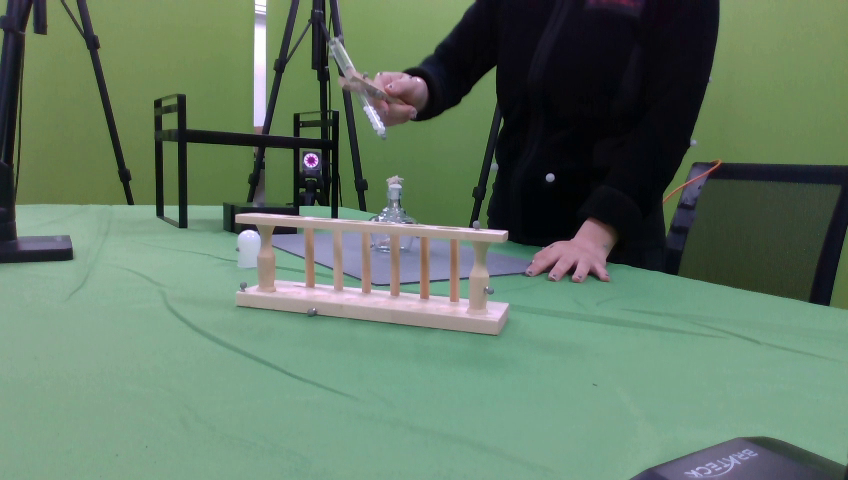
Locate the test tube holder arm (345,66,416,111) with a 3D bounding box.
[{"bbox_3d":[-0.053,-0.200,0.811,0.013,0.015,0.179,-33,-15,21],"label":"test tube holder arm"}]

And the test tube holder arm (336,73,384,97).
[{"bbox_3d":[-0.079,-0.197,0.774,0.010,0.015,0.088,-36,-17,29],"label":"test tube holder arm"}]

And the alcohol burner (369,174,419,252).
[{"bbox_3d":[-0.046,-0.041,0.922,0.078,0.119,0.078,2,10,0],"label":"alcohol burner"}]

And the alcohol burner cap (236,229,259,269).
[{"bbox_3d":[-0.220,0.010,0.759,0.034,0.048,0.034,0,12,0],"label":"alcohol burner cap"}]

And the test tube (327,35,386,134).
[{"bbox_3d":[-0.084,-0.193,0.750,0.017,0.150,0.017,-26,-16,-7],"label":"test tube"}]

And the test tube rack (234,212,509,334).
[{"bbox_3d":[-0.046,0.023,0.547,0.242,0.085,0.067,4,7,15],"label":"test tube rack"}]
